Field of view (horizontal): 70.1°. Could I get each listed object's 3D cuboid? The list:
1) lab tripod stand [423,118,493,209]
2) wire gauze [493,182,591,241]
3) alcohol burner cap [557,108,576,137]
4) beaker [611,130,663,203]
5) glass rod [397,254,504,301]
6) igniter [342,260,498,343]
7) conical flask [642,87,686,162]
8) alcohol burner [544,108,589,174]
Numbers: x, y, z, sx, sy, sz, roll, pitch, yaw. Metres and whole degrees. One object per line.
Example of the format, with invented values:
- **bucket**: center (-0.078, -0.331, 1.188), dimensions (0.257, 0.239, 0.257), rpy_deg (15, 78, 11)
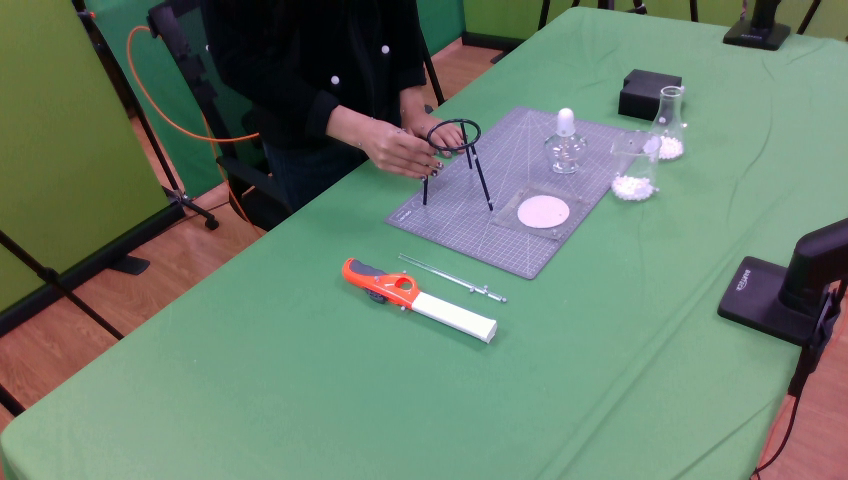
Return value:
- **lab tripod stand**: center (0.059, -0.132, 1.034), dimensions (0.148, 0.132, 0.147), rpy_deg (-7, 42, 7)
- **wire gauze**: center (0.198, -0.048, 1.011), dimensions (0.120, 0.011, 0.125), rpy_deg (20, 50, 31)
- **alcohol burner cap**: center (0.246, -0.205, 1.047), dimensions (0.034, 0.048, 0.033), rpy_deg (-8, 44, 8)
- **beaker**: center (0.346, -0.118, 0.998), dimensions (0.084, 0.101, 0.073), rpy_deg (-17, 40, -7)
- **glass rod**: center (0.036, 0.054, 0.922), dimensions (0.198, 0.008, 0.008), rpy_deg (21, 49, 31)
- **igniter**: center (-0.017, 0.084, 0.883), dimensions (0.274, 0.025, 0.057), rpy_deg (20, 58, 31)
- **conical flask**: center (0.429, -0.206, 1.067), dimensions (0.075, 0.122, 0.075), rpy_deg (-6, 40, 6)
- **alcohol burner**: center (0.252, -0.178, 1.071), dimensions (0.078, 0.120, 0.077), rpy_deg (-7, 40, 6)
